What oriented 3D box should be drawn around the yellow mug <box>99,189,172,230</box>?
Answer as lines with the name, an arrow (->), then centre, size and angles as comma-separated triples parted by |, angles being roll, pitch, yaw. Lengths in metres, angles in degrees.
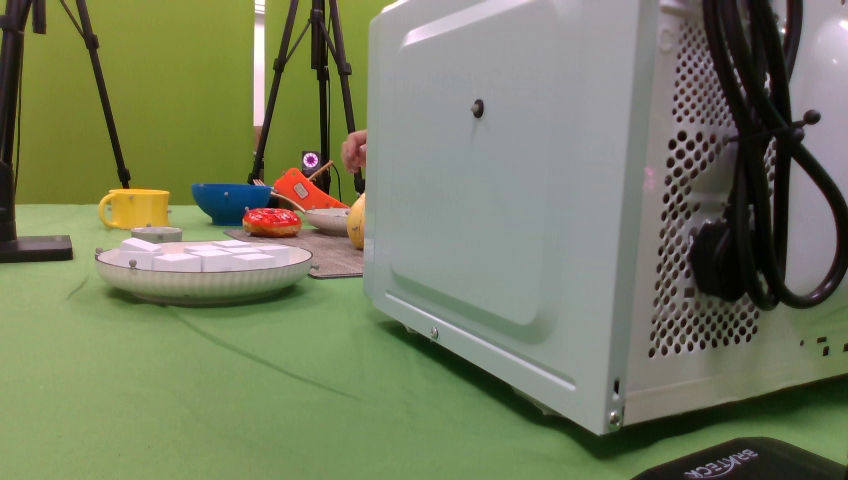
yellow mug -> -0.518, -0.055, 1.080 | 0.099, 0.064, 0.131 | 6, 9, 26

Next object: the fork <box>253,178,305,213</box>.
fork -> -0.294, -0.084, 1.293 | 0.206, 0.018, 0.028 | 29, 13, 26

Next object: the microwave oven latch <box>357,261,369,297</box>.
microwave oven latch -> -0.019, 0.033, 0.531 | 0.079, 0.029, 0.030 | -1, 7, -27

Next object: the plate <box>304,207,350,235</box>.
plate -> -0.123, -0.037, 1.149 | 0.209, 0.038, 0.209 | 2, 7, 0

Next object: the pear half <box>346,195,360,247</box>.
pear half -> -0.104, -0.033, 0.926 | 0.031, 0.088, 0.070 | 2, 12, -2

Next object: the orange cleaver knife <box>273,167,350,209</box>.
orange cleaver knife -> -0.237, -0.087, 1.358 | 0.211, 0.077, 0.012 | 32, 4, -3

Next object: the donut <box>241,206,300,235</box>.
donut -> -0.263, -0.032, 1.039 | 0.099, 0.048, 0.099 | 4, 10, 0

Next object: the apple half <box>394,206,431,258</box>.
apple half -> -0.010, -0.013, 0.863 | 0.033, 0.081, 0.081 | -7, 11, -34

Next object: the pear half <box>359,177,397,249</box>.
pear half -> -0.068, -0.041, 0.924 | 0.056, 0.110, 0.076 | 1, 12, -2

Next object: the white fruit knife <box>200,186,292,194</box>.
white fruit knife -> -0.399, -0.111, 1.368 | 0.208, 0.016, 0.027 | -4, -19, -29

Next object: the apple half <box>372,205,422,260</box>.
apple half -> -0.045, -0.010, 0.844 | 0.053, 0.074, 0.080 | -5, 19, -35

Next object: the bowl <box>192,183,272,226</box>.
bowl -> -0.381, -0.071, 1.202 | 0.151, 0.077, 0.151 | 3, 7, 0

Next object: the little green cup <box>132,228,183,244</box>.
little green cup -> -0.342, 0.006, 0.779 | 0.061, 0.038, 0.061 | 2, 8, 0

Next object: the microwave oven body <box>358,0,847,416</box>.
microwave oven body -> 0.211, -0.047, 0.474 | 0.444, 0.260, 0.324 | -1, 7, -28

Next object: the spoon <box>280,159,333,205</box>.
spoon -> -0.316, -0.158, 1.639 | 0.194, 0.022, 0.041 | -49, 32, -20

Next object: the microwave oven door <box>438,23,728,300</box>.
microwave oven door -> 0.181, -0.072, 0.621 | 0.358, 0.243, 0.039 | -2, 8, -29

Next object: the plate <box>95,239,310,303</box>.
plate -> -0.224, 0.031, 0.629 | 0.208, 0.039, 0.207 | 2, 7, 0
